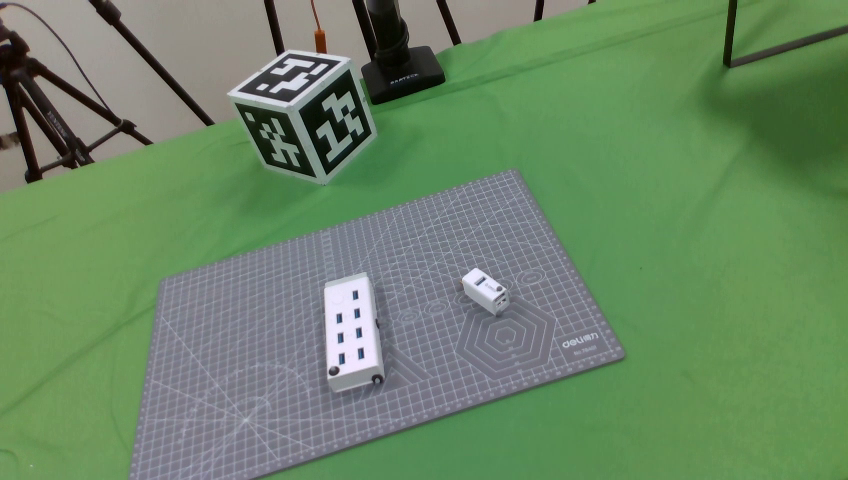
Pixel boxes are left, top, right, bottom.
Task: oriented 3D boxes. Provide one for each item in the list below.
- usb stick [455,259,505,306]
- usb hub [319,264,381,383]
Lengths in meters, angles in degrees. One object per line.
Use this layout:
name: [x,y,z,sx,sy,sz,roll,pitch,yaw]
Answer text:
usb stick: [0.051,0.038,0.593,0.021,0.027,0.058,-38,44,-19]
usb hub: [-0.075,0.078,0.593,0.049,0.025,0.123,-16,42,2]
